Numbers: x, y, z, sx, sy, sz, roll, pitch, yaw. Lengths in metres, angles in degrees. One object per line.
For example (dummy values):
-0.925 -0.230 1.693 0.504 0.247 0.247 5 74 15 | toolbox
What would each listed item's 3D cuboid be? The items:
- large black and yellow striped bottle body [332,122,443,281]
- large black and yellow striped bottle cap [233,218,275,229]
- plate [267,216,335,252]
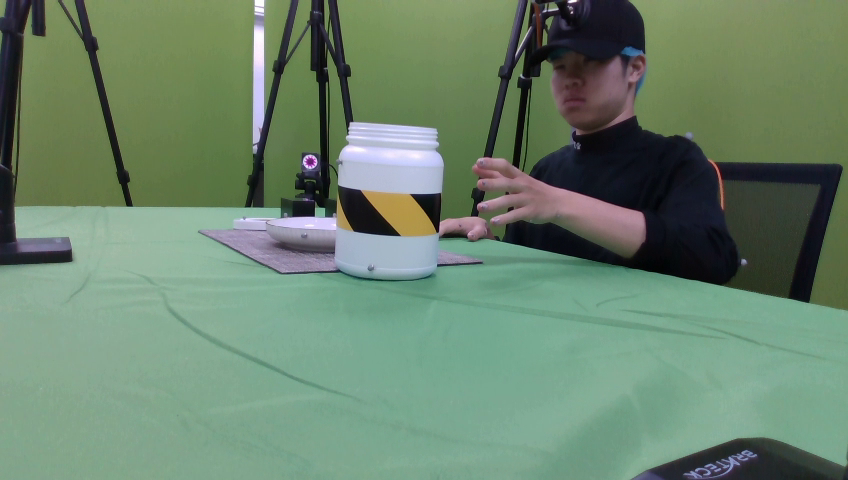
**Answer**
-0.045 -0.051 0.755 0.131 0.184 0.130 4 10 0 | large black and yellow striped bottle body
-0.311 -0.032 1.172 0.115 0.019 0.115 1 4 0 | large black and yellow striped bottle cap
-0.144 -0.010 0.967 0.208 0.039 0.207 2 7 0 | plate
